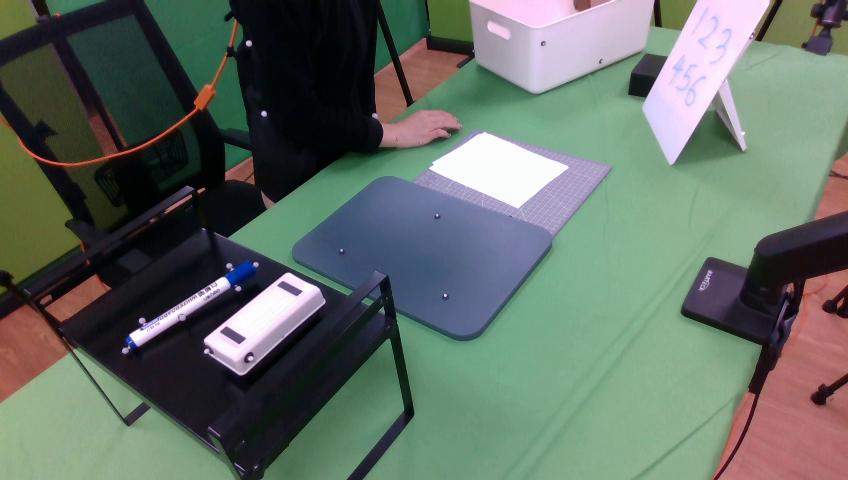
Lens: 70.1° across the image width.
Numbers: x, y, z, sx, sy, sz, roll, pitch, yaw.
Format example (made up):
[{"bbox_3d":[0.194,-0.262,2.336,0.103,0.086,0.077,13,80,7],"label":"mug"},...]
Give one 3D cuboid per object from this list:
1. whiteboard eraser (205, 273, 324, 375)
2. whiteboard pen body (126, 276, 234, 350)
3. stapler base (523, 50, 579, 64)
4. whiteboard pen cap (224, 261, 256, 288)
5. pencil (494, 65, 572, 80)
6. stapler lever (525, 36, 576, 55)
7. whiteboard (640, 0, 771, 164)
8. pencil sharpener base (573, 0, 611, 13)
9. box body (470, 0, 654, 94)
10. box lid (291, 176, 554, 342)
[{"bbox_3d":[-0.157,0.084,0.605,0.055,0.042,0.113,24,49,30],"label":"whiteboard eraser"},{"bbox_3d":[-0.251,0.070,0.649,0.141,0.017,0.017,-36,48,-26],"label":"whiteboard pen body"},{"bbox_3d":[0.301,-0.436,1.434,0.130,0.024,0.041,5,40,17],"label":"stapler base"},{"bbox_3d":[-0.207,0.039,0.677,0.033,0.018,0.018,-36,47,-18],"label":"whiteboard pen cap"},{"bbox_3d":[0.249,-0.390,1.398,0.192,0.012,0.012,18,46,27],"label":"pencil"},{"bbox_3d":[0.296,-0.456,1.418,0.117,0.040,0.027,4,40,17],"label":"stapler lever"},{"bbox_3d":[0.543,-0.299,1.076,0.144,0.305,0.216,12,40,-7],"label":"whiteboard"},{"bbox_3d":[0.389,-0.585,1.410,0.061,0.108,0.076,-29,50,-5],"label":"pencil sharpener base"},{"bbox_3d":[0.319,-0.498,1.405,0.365,0.161,0.252,-26,43,-21],"label":"box body"},{"bbox_3d":[-0.005,0.011,0.972,0.368,0.015,0.264,21,49,30],"label":"box lid"}]
